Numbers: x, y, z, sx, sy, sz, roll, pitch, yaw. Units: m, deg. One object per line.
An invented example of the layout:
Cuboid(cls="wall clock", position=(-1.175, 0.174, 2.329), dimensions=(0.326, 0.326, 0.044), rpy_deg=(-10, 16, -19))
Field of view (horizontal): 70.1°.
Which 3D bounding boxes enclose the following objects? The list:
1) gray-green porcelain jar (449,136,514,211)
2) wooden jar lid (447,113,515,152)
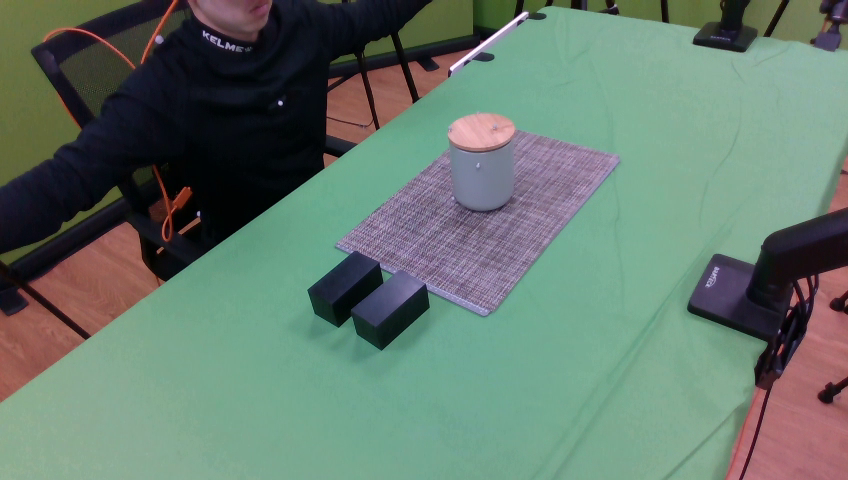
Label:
Cuboid(cls="gray-green porcelain jar", position=(0.098, -0.120, 1.009), dimensions=(0.106, 0.127, 0.105), rpy_deg=(-4, 41, 4))
Cuboid(cls="wooden jar lid", position=(0.091, -0.169, 0.967), dimensions=(0.108, 0.021, 0.108), rpy_deg=(-5, 39, 4))
